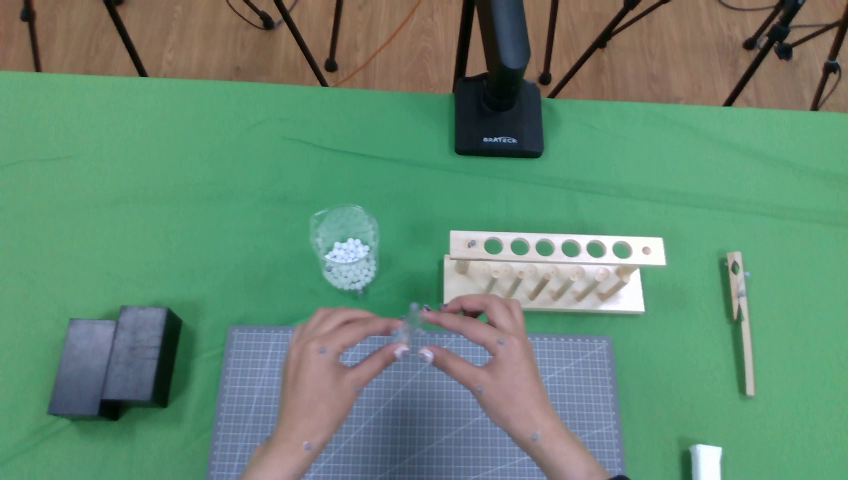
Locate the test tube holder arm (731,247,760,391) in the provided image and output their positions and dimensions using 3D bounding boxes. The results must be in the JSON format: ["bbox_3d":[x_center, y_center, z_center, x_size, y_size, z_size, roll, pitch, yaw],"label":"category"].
[{"bbox_3d":[0.389,0.093,0.736,0.013,0.015,0.177,-13,63,30],"label":"test tube holder arm"}]

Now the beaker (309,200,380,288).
[{"bbox_3d":[-0.092,0.007,0.698,0.084,0.101,0.073,28,68,9],"label":"beaker"}]

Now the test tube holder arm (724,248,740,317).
[{"bbox_3d":[0.386,0.052,0.756,0.010,0.015,0.087,-11,64,31],"label":"test tube holder arm"}]

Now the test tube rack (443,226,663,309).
[{"bbox_3d":[0.146,0.035,0.710,0.242,0.086,0.066,2,67,-3],"label":"test tube rack"}]

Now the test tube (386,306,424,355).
[{"bbox_3d":[-0.020,0.086,0.556,0.017,0.151,0.017,3,69,-9],"label":"test tube"}]

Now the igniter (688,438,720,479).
[{"bbox_3d":[0.294,0.348,0.622,0.057,0.025,0.274,12,67,-10],"label":"igniter"}]
